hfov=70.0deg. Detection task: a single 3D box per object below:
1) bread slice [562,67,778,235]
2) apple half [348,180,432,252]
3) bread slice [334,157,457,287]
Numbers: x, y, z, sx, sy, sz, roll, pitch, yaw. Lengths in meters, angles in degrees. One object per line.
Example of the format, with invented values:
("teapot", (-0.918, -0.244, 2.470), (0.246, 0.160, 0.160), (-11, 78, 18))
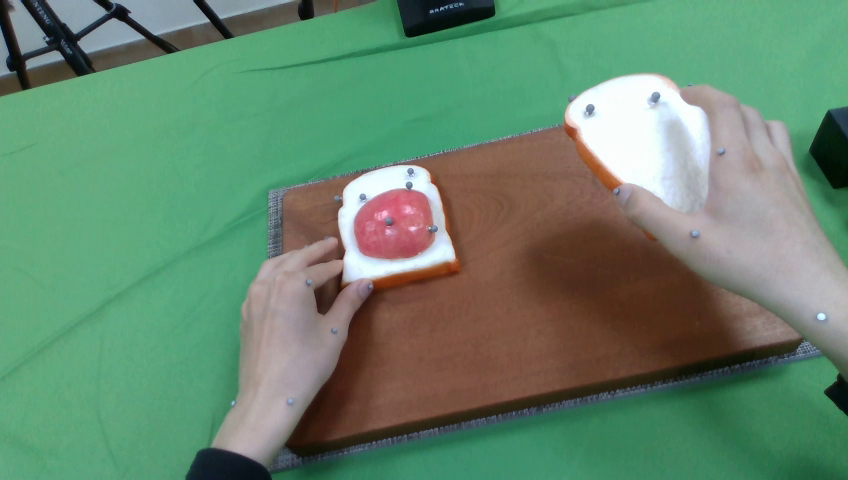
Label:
("bread slice", (0.164, -0.071, 0.438), (0.107, 0.018, 0.133), (-28, 62, -15))
("apple half", (-0.032, -0.027, 0.526), (0.081, 0.033, 0.080), (-4, 53, 6))
("bread slice", (-0.033, -0.023, 0.554), (0.105, 0.019, 0.130), (-12, 54, 1))
